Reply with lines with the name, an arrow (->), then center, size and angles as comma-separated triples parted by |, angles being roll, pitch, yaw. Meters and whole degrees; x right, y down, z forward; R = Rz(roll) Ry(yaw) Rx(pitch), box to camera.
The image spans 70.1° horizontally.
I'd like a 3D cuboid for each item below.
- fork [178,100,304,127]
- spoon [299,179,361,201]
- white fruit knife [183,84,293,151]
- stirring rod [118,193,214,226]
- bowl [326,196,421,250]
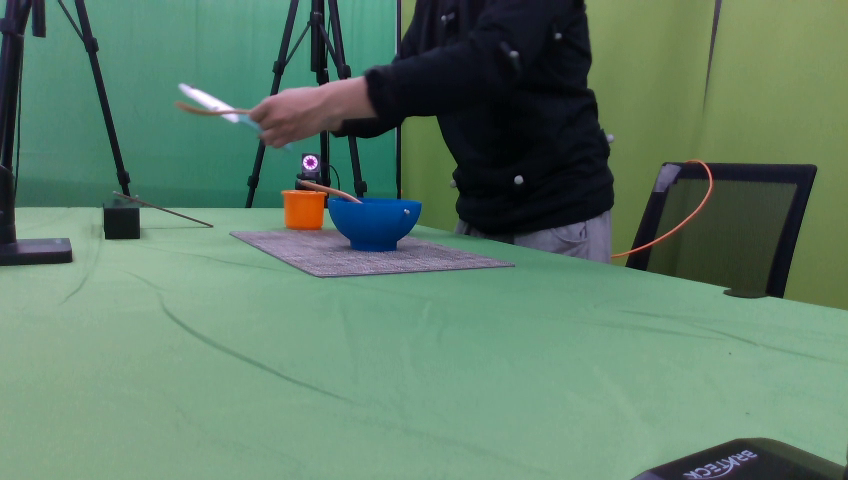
fork -> -0.289, -0.203, 0.977 | 0.208, 0.018, 0.028 | -1, -9, -39
spoon -> -0.123, -0.068, 0.993 | 0.193, 0.021, 0.042 | 25, 9, 17
white fruit knife -> -0.316, -0.213, 1.043 | 0.208, 0.027, 0.016 | 27, -25, -32
stirring rod -> -0.484, -0.056, 1.142 | 0.177, 0.006, 0.014 | 21, -5, -28
bowl -> -0.080, -0.027, 0.957 | 0.151, 0.077, 0.151 | 2, 7, 0
